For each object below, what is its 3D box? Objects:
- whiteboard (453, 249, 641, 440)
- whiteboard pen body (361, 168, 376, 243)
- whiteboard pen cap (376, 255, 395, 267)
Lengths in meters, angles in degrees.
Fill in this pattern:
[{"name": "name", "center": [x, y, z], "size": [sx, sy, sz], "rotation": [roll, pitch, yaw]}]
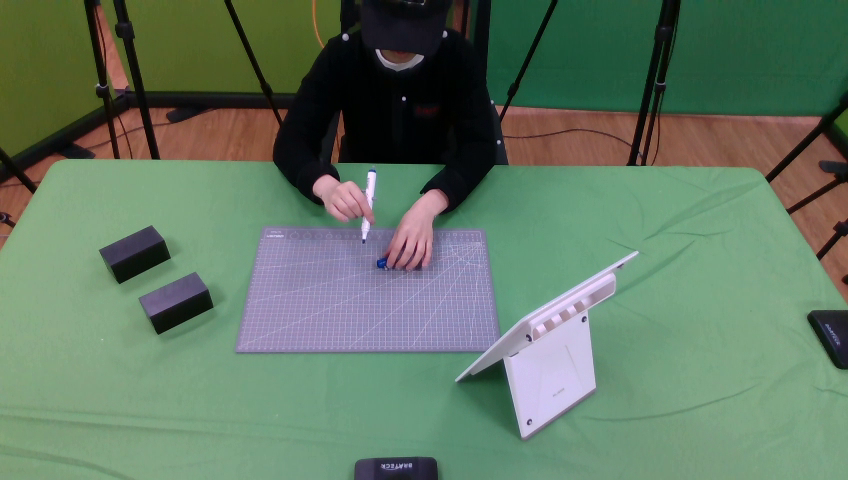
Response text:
[{"name": "whiteboard", "center": [0.206, 0.174, 0.890], "size": [0.217, 0.306, 0.143], "rotation": [-24, 72, -25]}, {"name": "whiteboard pen body", "center": [-0.102, -0.063, 1.101], "size": [0.017, 0.017, 0.140], "rotation": [5, 78, 1]}, {"name": "whiteboard pen cap", "center": [-0.074, 0.040, 1.149], "size": [0.033, 0.018, 0.018], "rotation": [-19, 50, -15]}]
